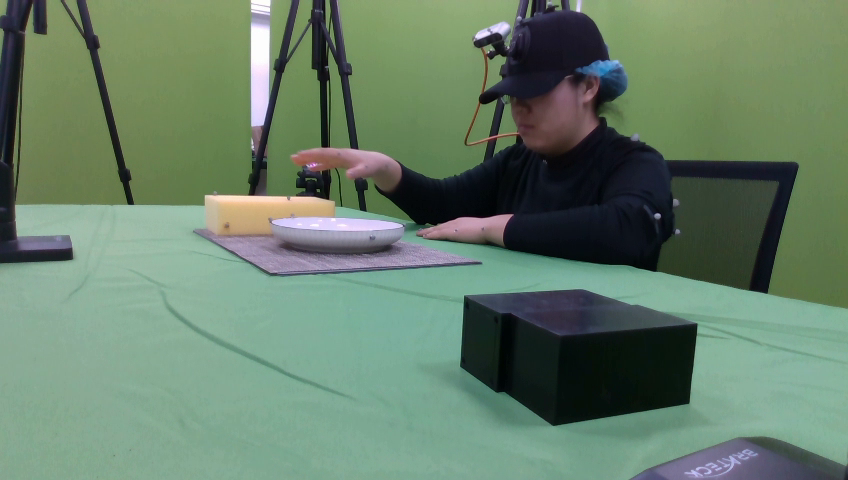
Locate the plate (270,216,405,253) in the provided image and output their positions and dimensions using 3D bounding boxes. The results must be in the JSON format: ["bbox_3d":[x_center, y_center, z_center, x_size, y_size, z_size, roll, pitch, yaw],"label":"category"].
[{"bbox_3d":[-0.134,-0.009,0.946,0.208,0.039,0.207,3,7,0],"label":"plate"}]

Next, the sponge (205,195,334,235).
[{"bbox_3d":[-0.280,-0.047,1.097,0.208,0.061,0.117,-2,9,-30],"label":"sponge"}]
